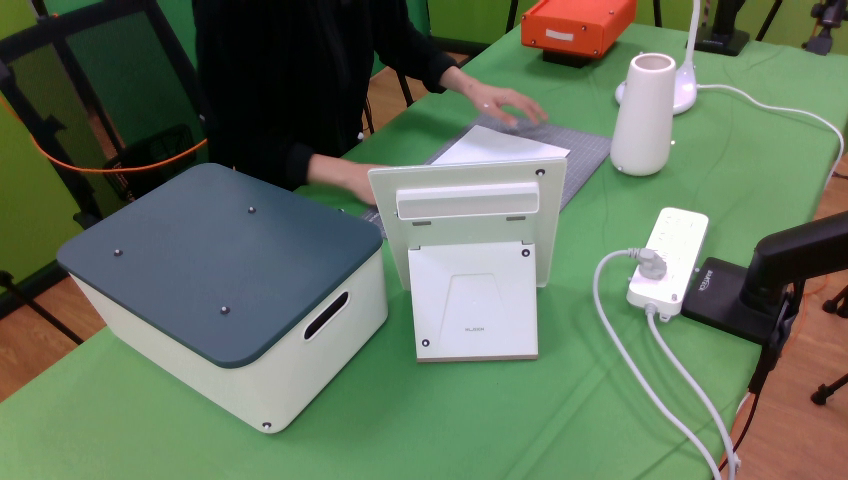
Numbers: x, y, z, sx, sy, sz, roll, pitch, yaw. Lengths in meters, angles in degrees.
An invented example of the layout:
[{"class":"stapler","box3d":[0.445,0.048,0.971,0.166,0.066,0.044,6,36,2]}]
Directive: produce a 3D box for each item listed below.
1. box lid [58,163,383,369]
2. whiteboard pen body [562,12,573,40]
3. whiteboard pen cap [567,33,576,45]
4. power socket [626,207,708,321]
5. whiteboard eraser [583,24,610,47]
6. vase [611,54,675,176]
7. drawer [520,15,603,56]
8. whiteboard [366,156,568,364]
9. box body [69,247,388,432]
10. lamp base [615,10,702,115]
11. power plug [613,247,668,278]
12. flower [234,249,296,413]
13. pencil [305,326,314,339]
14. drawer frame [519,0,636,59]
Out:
[{"class":"box lid","box3d":[-0.262,0.010,0.777,0.369,0.015,0.264,21,47,29]},{"class":"whiteboard pen body","box3d":[0.340,-0.506,1.430,0.017,0.017,0.140,-1,44,7]},{"class":"whiteboard pen cap","box3d":[0.339,-0.463,1.390,0.018,0.018,0.033,-2,44,5]},{"class":"power socket","box3d":[0.359,0.025,0.886,0.072,0.033,0.227,16,46,26]},{"class":"whiteboard eraser","box3d":[0.407,-0.479,1.423,0.055,0.042,0.113,-3,9,20]},{"class":"vase","box3d":[0.377,-0.209,1.031,0.098,0.201,0.097,-3,40,3]},{"class":"drawer","box3d":[0.359,-0.517,1.416,0.193,0.073,0.212,20,47,29]},{"class":"whiteboard","box3d":[0.059,0.050,0.738,0.217,0.307,0.143,-2,60,6]},{"class":"box body","box3d":[-0.256,0.066,0.826,0.361,0.161,0.255,20,47,29]},{"class":"lamp base","box3d":[0.484,-0.364,1.211,0.180,0.181,0.159,-15,41,-14]},{"class":"power plug","box3d":[0.306,0.032,0.851,0.072,0.053,0.035,23,49,33]},{"class":"flower","box3d":[-0.244,0.109,0.870,0.044,0.038,0.358,10,26,-32]},{"class":"pencil","box3d":[-0.187,0.106,0.880,0.012,0.012,0.192,-27,41,-22]},{"class":"drawer frame","box3d":[0.362,-0.518,1.423,0.200,0.083,0.214,19,48,29]}]
